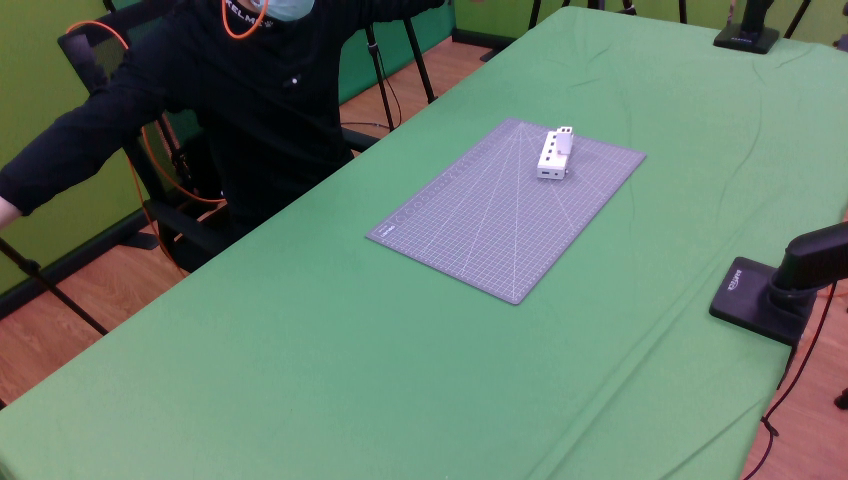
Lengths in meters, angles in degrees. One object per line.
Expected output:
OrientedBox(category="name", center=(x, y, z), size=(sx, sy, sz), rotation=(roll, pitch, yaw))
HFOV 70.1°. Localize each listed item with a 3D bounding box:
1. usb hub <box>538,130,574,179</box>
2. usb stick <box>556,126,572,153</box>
OrientedBox(category="usb hub", center=(0.243, -0.158, 1.111), size=(0.049, 0.025, 0.125), rotation=(8, 43, 17))
OrientedBox(category="usb stick", center=(0.251, -0.174, 1.083), size=(0.027, 0.059, 0.021), rotation=(8, 44, 15))
